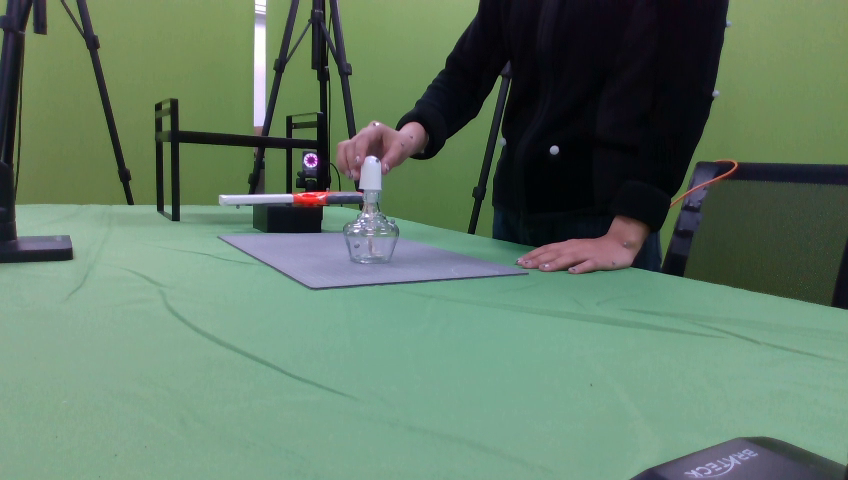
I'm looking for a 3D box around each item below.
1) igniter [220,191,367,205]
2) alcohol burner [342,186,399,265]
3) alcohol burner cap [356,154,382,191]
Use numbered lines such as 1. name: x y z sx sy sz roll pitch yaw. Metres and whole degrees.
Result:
1. igniter: -0.243 -0.079 1.152 0.278 0.025 0.057 -3 12 -26
2. alcohol burner: -0.073 -0.027 0.818 0.078 0.119 0.078 1 6 0
3. alcohol burner cap: -0.072 -0.092 0.817 0.034 0.048 0.034 12 11 -2
